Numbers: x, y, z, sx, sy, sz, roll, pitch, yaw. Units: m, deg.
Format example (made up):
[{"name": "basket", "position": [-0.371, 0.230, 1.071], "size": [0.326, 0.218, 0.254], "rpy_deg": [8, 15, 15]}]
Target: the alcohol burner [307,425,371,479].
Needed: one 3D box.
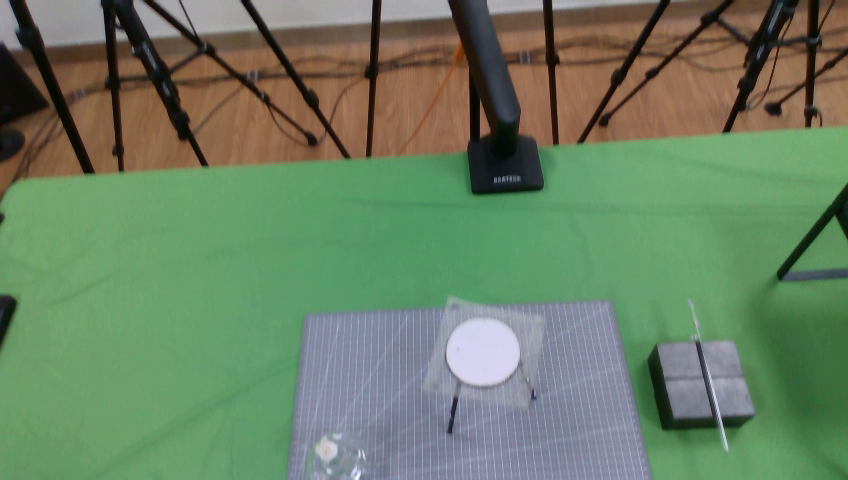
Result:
[{"name": "alcohol burner", "position": [-0.104, 0.254, 0.717], "size": [0.078, 0.120, 0.077], "rpy_deg": [-1, 58, 2]}]

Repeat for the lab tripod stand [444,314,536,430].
[{"name": "lab tripod stand", "position": [0.070, 0.159, 0.758], "size": [0.148, 0.133, 0.147], "rpy_deg": [-3, 56, 4]}]

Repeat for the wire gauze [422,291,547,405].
[{"name": "wire gauze", "position": [0.072, 0.122, 0.701], "size": [0.121, 0.011, 0.124], "rpy_deg": [12, 58, 11]}]

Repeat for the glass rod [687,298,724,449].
[{"name": "glass rod", "position": [0.353, 0.161, 0.761], "size": [0.008, 0.008, 0.198], "rpy_deg": [0, 57, 4]}]
